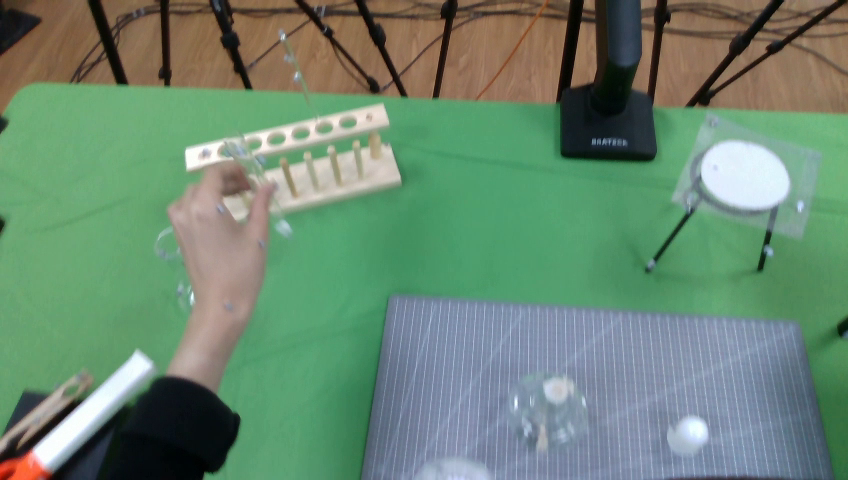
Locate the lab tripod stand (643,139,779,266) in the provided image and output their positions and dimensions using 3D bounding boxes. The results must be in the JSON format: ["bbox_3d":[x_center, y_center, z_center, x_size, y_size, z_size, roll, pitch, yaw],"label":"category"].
[{"bbox_3d":[0.316,-0.034,0.660,0.148,0.132,0.147,-1,58,1],"label":"lab tripod stand"}]

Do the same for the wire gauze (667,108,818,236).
[{"bbox_3d":[0.320,-0.070,0.602,0.121,0.011,0.124,23,64,14],"label":"wire gauze"}]

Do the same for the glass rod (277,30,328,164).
[{"bbox_3d":[-0.137,-0.157,0.710,0.008,0.202,0.008,-5,52,7],"label":"glass rod"}]

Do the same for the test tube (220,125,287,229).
[{"bbox_3d":[-0.146,-0.050,0.534,0.017,0.151,0.017,-1,63,3],"label":"test tube"}]

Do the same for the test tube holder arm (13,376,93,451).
[{"bbox_3d":[-0.362,0.167,0.588,0.010,0.015,0.087,48,69,-6],"label":"test tube holder arm"}]

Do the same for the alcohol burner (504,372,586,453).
[{"bbox_3d":[0.115,0.155,0.567,0.078,0.120,0.077,0,58,1],"label":"alcohol burner"}]

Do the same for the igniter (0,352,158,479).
[{"bbox_3d":[-0.365,0.216,0.557,0.057,0.025,0.276,29,63,29],"label":"igniter"}]

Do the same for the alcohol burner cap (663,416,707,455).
[{"bbox_3d":[0.253,0.185,0.583,0.034,0.048,0.033,-1,59,2],"label":"alcohol burner cap"}]

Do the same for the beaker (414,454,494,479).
[{"bbox_3d":[0.025,0.240,0.529,0.073,0.101,0.084,31,66,21],"label":"beaker"}]

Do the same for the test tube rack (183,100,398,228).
[{"bbox_3d":[-0.160,-0.093,0.751,0.242,0.086,0.066,-15,59,-6],"label":"test tube rack"}]

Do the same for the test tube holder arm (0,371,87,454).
[{"bbox_3d":[-0.395,0.193,0.571,0.013,0.015,0.178,47,69,-7],"label":"test tube holder arm"}]

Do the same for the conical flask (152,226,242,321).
[{"bbox_3d":[-0.252,0.032,0.660,0.075,0.123,0.074,-2,58,3],"label":"conical flask"}]
